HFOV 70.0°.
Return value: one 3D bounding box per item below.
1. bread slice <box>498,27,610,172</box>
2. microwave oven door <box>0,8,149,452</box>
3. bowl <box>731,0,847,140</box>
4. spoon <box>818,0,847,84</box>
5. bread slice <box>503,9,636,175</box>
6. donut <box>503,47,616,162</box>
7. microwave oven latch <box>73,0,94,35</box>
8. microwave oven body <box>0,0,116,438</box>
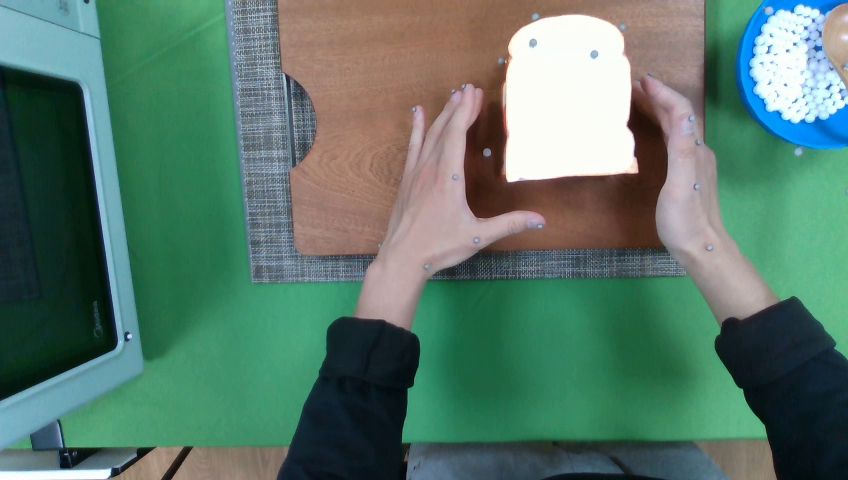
[{"bbox_3d":[0.118,-0.130,0.564,0.105,0.019,0.132,-3,99,6],"label":"bread slice"},{"bbox_3d":[-0.348,-0.018,0.530,0.039,0.243,0.356,-5,97,8],"label":"microwave oven door"},{"bbox_3d":[0.340,-0.162,0.533,0.151,0.077,0.151,1,98,7],"label":"bowl"},{"bbox_3d":[0.359,-0.115,0.505,0.041,0.022,0.193,2,77,-1],"label":"spoon"},{"bbox_3d":[0.114,-0.122,0.505,0.107,0.018,0.134,-6,91,8],"label":"bread slice"},{"bbox_3d":[0.119,-0.118,0.534,0.099,0.048,0.099,1,98,6],"label":"donut"},{"bbox_3d":[-0.354,-0.246,0.603,0.030,0.029,0.079,-4,98,7],"label":"microwave oven latch"},{"bbox_3d":[-0.497,-0.049,0.548,0.326,0.260,0.442,-5,97,7],"label":"microwave oven body"}]
